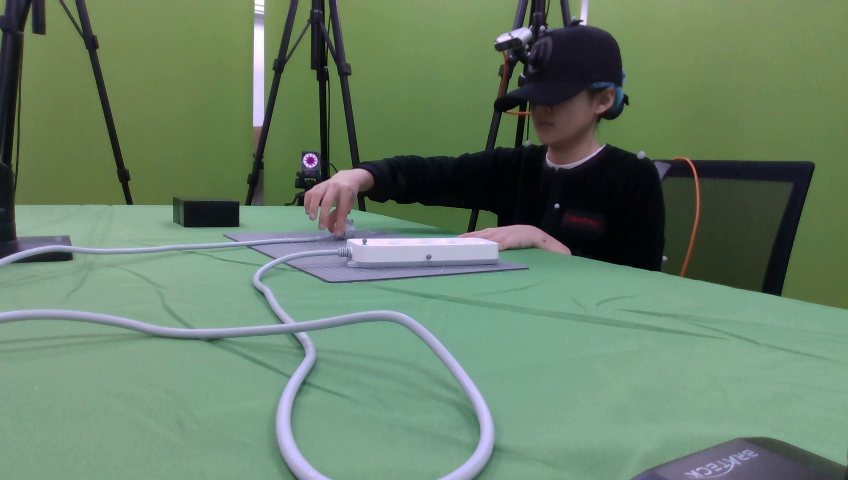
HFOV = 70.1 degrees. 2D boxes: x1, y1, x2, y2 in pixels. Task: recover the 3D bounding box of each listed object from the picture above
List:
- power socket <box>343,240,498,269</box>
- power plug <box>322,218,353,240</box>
[{"bbox_3d":[-0.002,0.018,0.829,0.228,0.032,0.072,0,7,-24],"label":"power socket"},{"bbox_3d":[-0.153,-0.022,1.042,0.073,0.035,0.052,9,17,-48],"label":"power plug"}]
